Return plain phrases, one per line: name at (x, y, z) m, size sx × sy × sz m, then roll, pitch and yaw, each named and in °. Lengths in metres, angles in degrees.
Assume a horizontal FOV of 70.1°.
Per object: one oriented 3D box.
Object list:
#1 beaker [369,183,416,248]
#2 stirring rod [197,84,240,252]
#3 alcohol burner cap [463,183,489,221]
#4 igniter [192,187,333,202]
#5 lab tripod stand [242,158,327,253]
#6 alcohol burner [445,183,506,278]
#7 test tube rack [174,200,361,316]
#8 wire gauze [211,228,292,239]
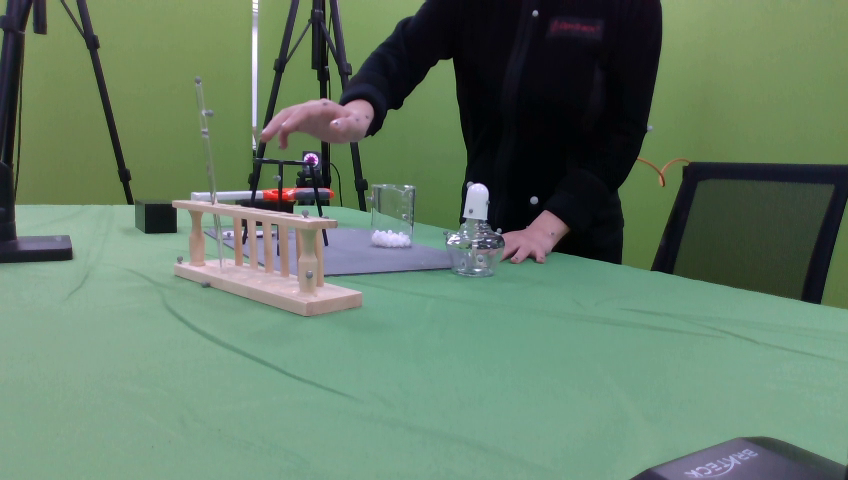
beaker at (-0.050, -0.039, 0.971) m, size 0.074 × 0.100 × 0.083 m, roll -1°, pitch 9°, yaw -25°
stirring rod at (-0.212, -0.072, 0.625) m, size 0.006 × 0.176 × 0.014 m, roll -14°, pitch 12°, yaw -21°
alcohol burner cap at (0.067, -0.048, 0.765) m, size 0.034 × 0.048 × 0.034 m, roll 5°, pitch 5°, yaw 0°
igniter at (-0.316, -0.090, 1.213) m, size 0.278 × 0.025 × 0.057 m, roll -5°, pitch 12°, yaw -31°
lab tripod stand at (-0.207, -0.054, 0.895) m, size 0.148 × 0.131 × 0.148 m, roll 2°, pitch 5°, yaw 0°
alcohol burner at (0.066, -0.013, 0.771) m, size 0.078 × 0.119 × 0.078 m, roll 0°, pitch 7°, yaw 0°
test tube rack at (-0.169, 0.009, 0.622) m, size 0.241 × 0.085 × 0.067 m, roll 9°, pitch 9°, yaw 41°
wire gauze at (-0.298, -0.013, 1.039) m, size 0.122 × 0.011 × 0.124 m, roll -2°, pitch 6°, yaw -27°
